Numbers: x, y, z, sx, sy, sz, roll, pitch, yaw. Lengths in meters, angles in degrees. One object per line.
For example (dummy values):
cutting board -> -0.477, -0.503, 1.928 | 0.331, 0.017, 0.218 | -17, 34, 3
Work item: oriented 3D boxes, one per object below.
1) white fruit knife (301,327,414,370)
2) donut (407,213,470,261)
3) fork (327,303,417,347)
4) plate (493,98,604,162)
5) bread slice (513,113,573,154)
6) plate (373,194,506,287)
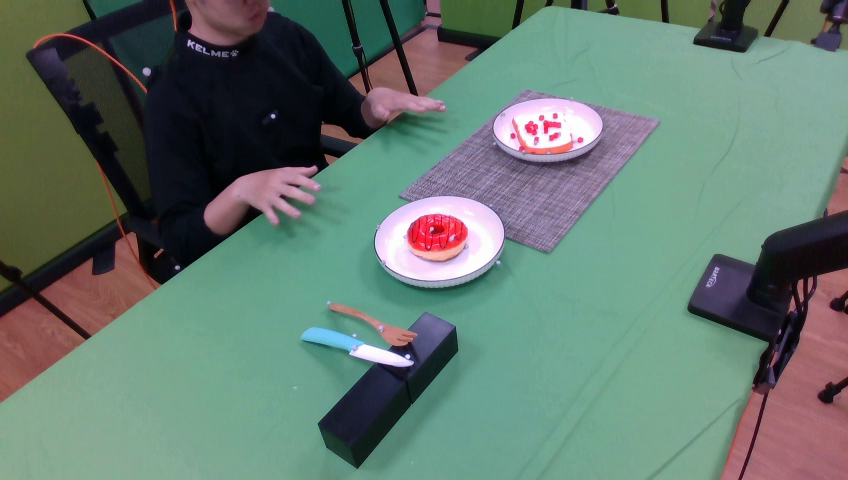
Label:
white fruit knife -> -0.088, 0.140, 0.781 | 0.205, 0.016, 0.027 | 8, 42, 42
donut -> 0.022, -0.006, 0.944 | 0.099, 0.048, 0.098 | -4, 38, 3
fork -> -0.077, 0.110, 0.811 | 0.028, 0.019, 0.205 | -41, 33, -26
plate -> 0.237, -0.206, 1.158 | 0.209, 0.038, 0.208 | -4, 40, 4
bread slice -> 0.233, -0.205, 1.160 | 0.105, 0.019, 0.131 | -7, 40, 1
plate -> 0.025, 0.003, 0.951 | 0.207, 0.039, 0.206 | -4, 41, 4
